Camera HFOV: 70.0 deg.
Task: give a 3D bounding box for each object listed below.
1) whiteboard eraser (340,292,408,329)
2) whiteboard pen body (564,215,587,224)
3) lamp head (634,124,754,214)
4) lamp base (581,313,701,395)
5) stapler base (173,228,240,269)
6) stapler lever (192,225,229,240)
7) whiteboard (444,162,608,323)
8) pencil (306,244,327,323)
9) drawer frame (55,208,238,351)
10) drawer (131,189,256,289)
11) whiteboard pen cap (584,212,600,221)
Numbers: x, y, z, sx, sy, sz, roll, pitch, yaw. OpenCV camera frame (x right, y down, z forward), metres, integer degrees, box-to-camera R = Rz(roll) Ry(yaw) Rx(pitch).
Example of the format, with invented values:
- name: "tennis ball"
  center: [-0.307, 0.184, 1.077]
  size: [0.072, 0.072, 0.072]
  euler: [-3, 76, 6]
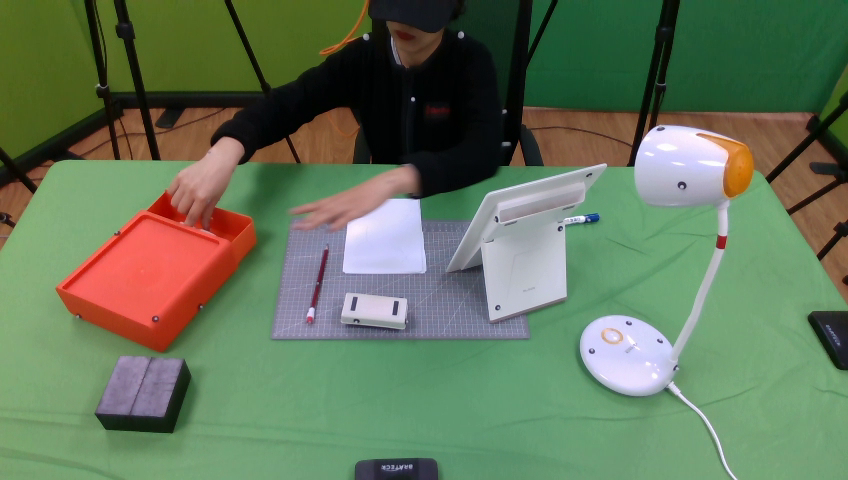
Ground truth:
- name: "whiteboard eraser"
  center: [-0.087, 0.125, 1.052]
  size: [0.113, 0.042, 0.055]
  euler: [5, 45, 1]
- name: "whiteboard pen body"
  center: [0.291, -0.040, 1.261]
  size: [0.141, 0.017, 0.017]
  euler: [-6, 47, -11]
- name: "lamp head"
  center: [0.351, -0.089, 0.776]
  size: [0.112, 0.113, 0.122]
  euler: [-30, 30, -28]
- name: "lamp base"
  center: [0.361, 0.144, 0.972]
  size: [0.178, 0.181, 0.160]
  euler: [34, 53, 23]
- name: "stapler base"
  center: [-0.416, 0.012, 1.159]
  size: [0.130, 0.024, 0.041]
  euler: [24, 54, 9]
- name: "stapler lever"
  center: [-0.417, -0.009, 1.131]
  size: [0.118, 0.040, 0.026]
  euler: [17, 52, 18]
- name: "whiteboard"
  center: [0.186, 0.025, 1.028]
  size: [0.217, 0.306, 0.143]
  euler: [-14, 68, -18]
- name: "pencil"
  center: [-0.196, 0.076, 1.115]
  size: [0.012, 0.012, 0.193]
  euler: [4, 44, 0]
- name: "drawer frame"
  center: [-0.474, 0.062, 1.059]
  size: [0.201, 0.083, 0.213]
  euler: [19, 48, 13]
- name: "drawer"
  center: [-0.449, 0.019, 1.105]
  size: [0.194, 0.073, 0.211]
  euler: [19, 48, 12]
- name: "whiteboard pen cap"
  center: [0.351, -0.049, 1.271]
  size: [0.033, 0.018, 0.018]
  euler: [-7, 47, -11]
